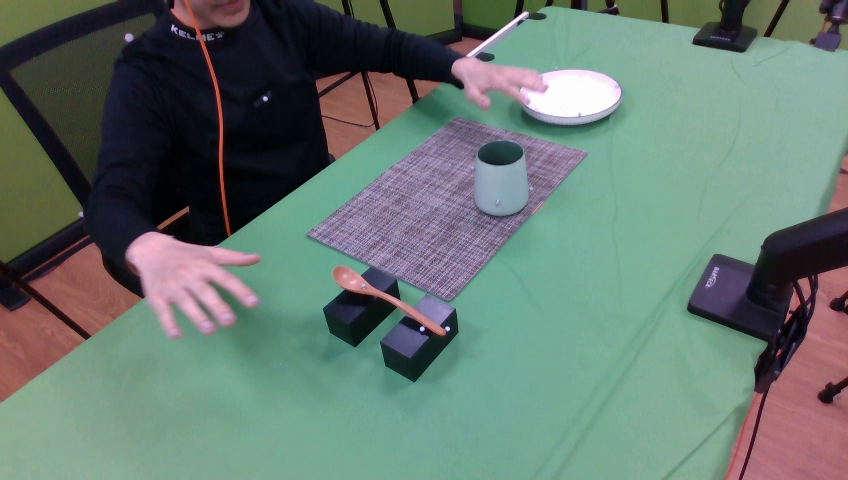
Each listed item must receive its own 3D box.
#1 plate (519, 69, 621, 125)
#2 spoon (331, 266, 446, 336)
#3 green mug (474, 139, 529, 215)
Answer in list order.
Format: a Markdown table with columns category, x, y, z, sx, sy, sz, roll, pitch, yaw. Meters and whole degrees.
| category | x | y | z | sx | sy | sz | roll | pitch | yaw |
| --- | --- | --- | --- | --- | --- | --- | --- | --- | --- |
| plate | 0.300 | -0.293 | 1.253 | 0.209 | 0.038 | 0.208 | -4 | 41 | 4 |
| spoon | -0.050 | 0.080 | 0.805 | 0.192 | 0.021 | 0.042 | 24 | 29 | 30 |
| green mug | 0.126 | -0.113 | 1.013 | 0.092 | 0.105 | 0.124 | -8 | 41 | 0 |
